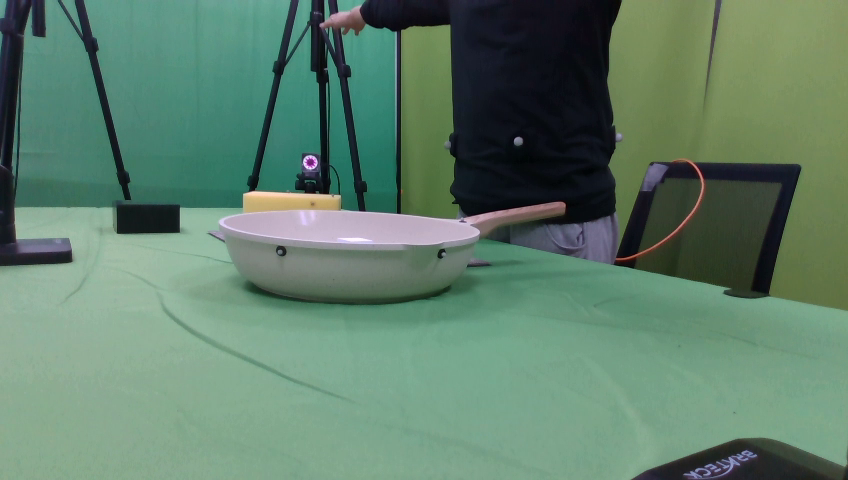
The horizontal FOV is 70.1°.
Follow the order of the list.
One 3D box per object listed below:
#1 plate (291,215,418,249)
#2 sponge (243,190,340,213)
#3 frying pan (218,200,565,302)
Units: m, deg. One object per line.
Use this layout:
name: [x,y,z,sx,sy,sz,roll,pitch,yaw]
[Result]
plate: [-0.115,-0.013,1.002,0.208,0.039,0.207,2,7,0]
sponge: [-0.298,-0.077,1.388,0.207,0.061,0.118,2,8,-8]
frying pan: [0.003,-0.010,0.754,0.490,0.102,0.305,-12,16,-32]
